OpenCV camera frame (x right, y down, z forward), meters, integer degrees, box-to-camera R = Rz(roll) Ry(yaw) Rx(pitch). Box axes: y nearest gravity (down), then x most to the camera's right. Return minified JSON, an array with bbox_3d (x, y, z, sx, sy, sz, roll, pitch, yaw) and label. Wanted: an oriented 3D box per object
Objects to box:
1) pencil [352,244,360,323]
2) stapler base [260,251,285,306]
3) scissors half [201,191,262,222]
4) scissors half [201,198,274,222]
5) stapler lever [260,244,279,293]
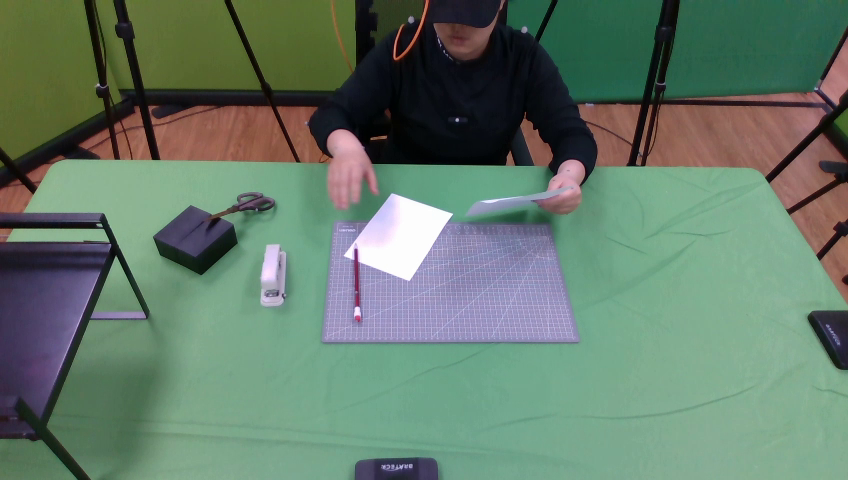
[{"bbox_3d":[-0.127,0.075,1.119,0.012,0.012,0.192,-3,44,-7],"label":"pencil"},{"bbox_3d":[-0.279,0.064,1.113,0.041,0.024,0.129,-1,44,-9],"label":"stapler base"},{"bbox_3d":[-0.381,-0.066,1.198,0.040,0.013,0.175,24,28,10],"label":"scissors half"},{"bbox_3d":[-0.364,-0.056,1.192,0.040,0.013,0.175,38,32,23],"label":"scissors half"},{"bbox_3d":[-0.279,0.045,1.096,0.027,0.040,0.117,-2,44,-9],"label":"stapler lever"}]
